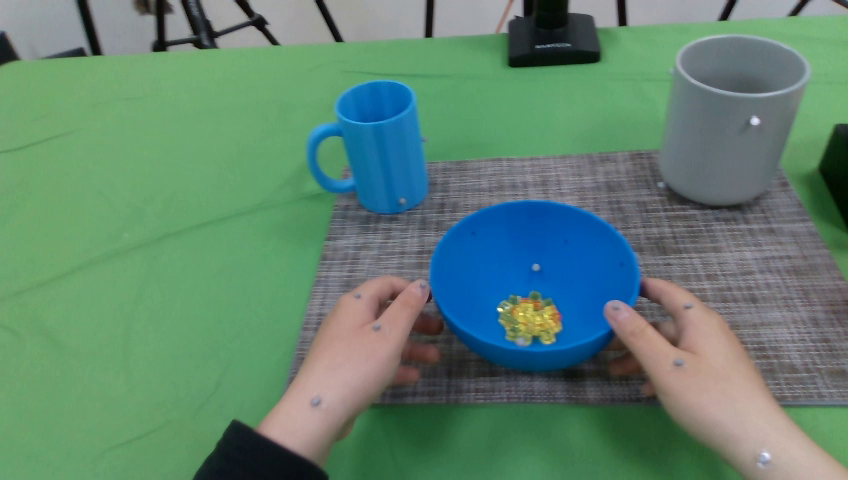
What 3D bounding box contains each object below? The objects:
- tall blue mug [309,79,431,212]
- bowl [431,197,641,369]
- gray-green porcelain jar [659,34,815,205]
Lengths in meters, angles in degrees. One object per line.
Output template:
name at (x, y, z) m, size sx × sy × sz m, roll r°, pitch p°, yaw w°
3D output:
tall blue mug at (-0.049, -0.085, 0.593) m, size 0.107 × 0.109 × 0.077 m, roll -34°, pitch 50°, yaw -24°
bowl at (0.083, 0.045, 0.463) m, size 0.151 × 0.077 × 0.150 m, roll -4°, pitch 44°, yaw 4°
gray-green porcelain jar at (0.276, -0.104, 0.551) m, size 0.106 × 0.128 × 0.105 m, roll -4°, pitch 44°, yaw 5°
